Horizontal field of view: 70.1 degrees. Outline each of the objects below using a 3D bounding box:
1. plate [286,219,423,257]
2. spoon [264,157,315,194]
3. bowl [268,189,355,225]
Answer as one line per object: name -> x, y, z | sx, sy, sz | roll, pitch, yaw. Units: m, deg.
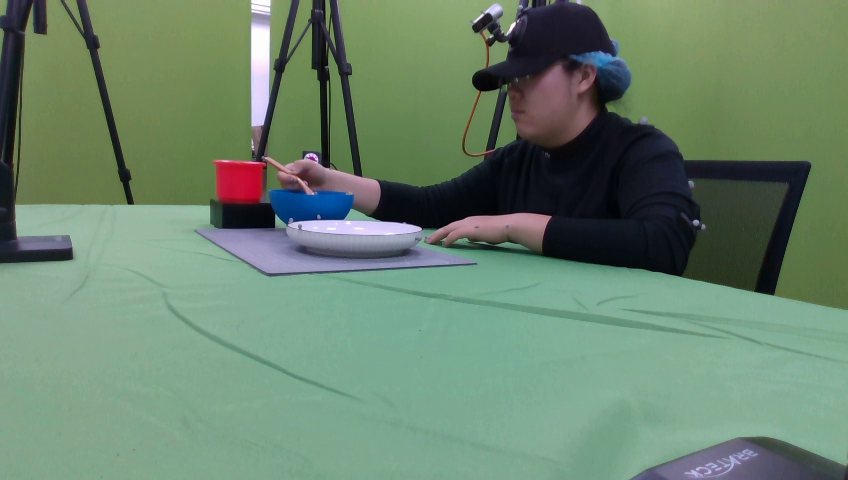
plate -> -0.105, -0.004, 0.922 | 0.208, 0.039, 0.207 | 3, 8, 0
spoon -> -0.230, -0.105, 1.113 | 0.193, 0.021, 0.042 | 40, 28, 23
bowl -> -0.201, -0.049, 1.079 | 0.151, 0.077, 0.151 | 3, 8, 0
